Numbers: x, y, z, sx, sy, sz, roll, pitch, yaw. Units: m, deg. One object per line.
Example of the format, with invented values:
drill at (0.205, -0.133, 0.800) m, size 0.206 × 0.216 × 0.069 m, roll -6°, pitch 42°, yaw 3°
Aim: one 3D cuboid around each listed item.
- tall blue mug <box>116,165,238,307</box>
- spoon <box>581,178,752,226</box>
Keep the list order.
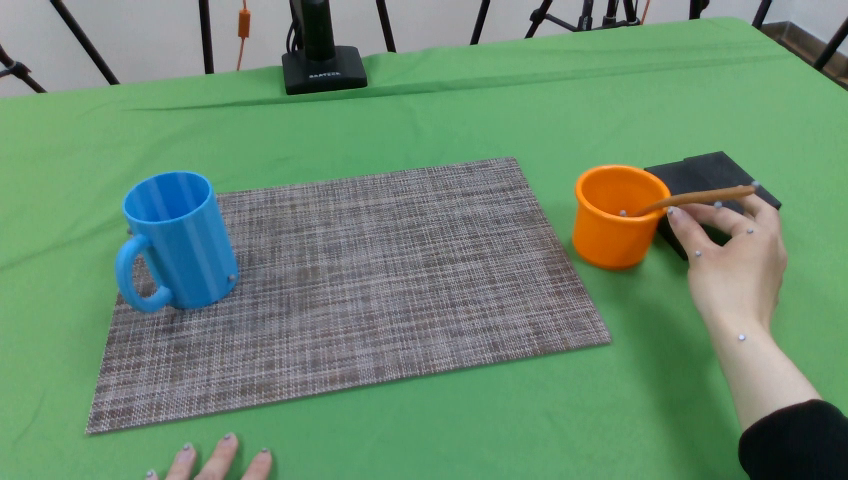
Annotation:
tall blue mug at (-0.225, 0.006, 0.559) m, size 0.078 × 0.109 × 0.106 m, roll -2°, pitch 43°, yaw -3°
spoon at (0.220, -0.036, 0.575) m, size 0.042 × 0.193 × 0.021 m, roll -20°, pitch 89°, yaw -26°
